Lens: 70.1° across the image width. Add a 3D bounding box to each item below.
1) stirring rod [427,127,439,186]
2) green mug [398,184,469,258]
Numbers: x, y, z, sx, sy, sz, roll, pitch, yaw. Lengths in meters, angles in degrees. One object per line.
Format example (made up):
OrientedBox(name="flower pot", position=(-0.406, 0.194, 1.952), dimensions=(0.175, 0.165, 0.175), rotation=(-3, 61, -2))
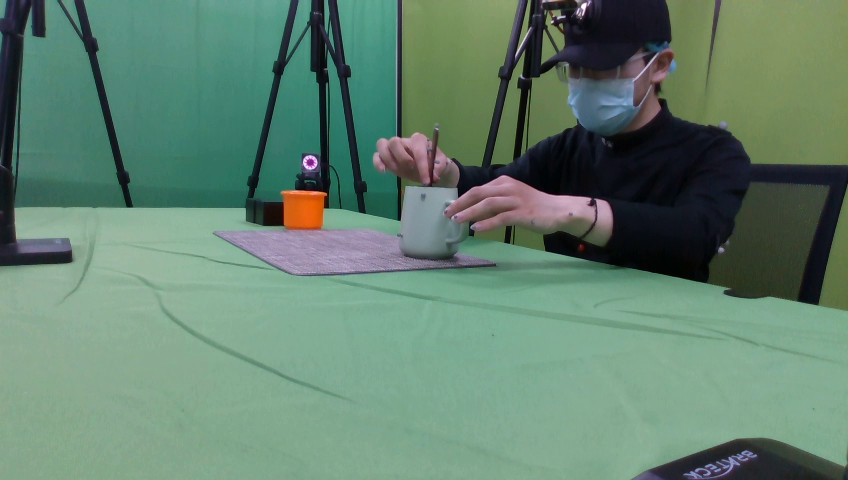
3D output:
OrientedBox(name="stirring rod", position=(0.009, -0.083, 0.902), dimensions=(0.006, 0.176, 0.014), rotation=(-4, 27, -22))
OrientedBox(name="green mug", position=(0.020, -0.028, 0.890), dimensions=(0.093, 0.105, 0.124), rotation=(-4, 9, -41))
